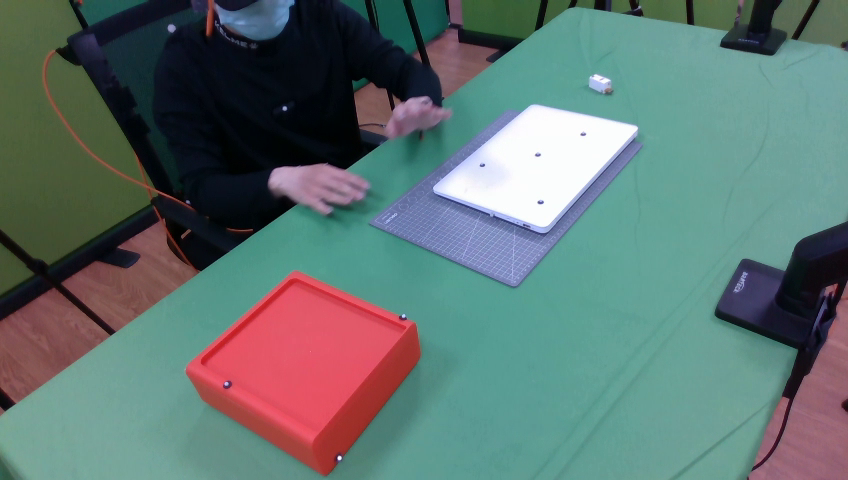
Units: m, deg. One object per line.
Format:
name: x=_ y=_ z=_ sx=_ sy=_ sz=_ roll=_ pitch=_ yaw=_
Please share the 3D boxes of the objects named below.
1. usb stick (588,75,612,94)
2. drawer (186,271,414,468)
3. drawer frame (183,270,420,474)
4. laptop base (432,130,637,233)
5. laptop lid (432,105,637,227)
usb stick: x=0.381 y=-0.333 z=1.304 sx=0.021 sy=0.027 sz=0.058 roll=-25 pitch=46 yaw=-22
drawer: x=-0.150 y=0.153 z=0.768 sx=0.210 sy=0.073 sz=0.195 roll=20 pitch=46 yaw=28
drawer frame: x=-0.149 y=0.153 z=0.767 sx=0.212 sy=0.083 sz=0.202 roll=20 pitch=46 yaw=27
laptop base: x=0.210 y=-0.142 z=1.111 sx=0.233 sy=0.023 sz=0.355 roll=21 pitch=47 yaw=34
laptop lid: x=0.207 y=-0.152 z=1.105 sx=0.239 sy=0.013 sz=0.358 roll=23 pitch=49 yaw=34
